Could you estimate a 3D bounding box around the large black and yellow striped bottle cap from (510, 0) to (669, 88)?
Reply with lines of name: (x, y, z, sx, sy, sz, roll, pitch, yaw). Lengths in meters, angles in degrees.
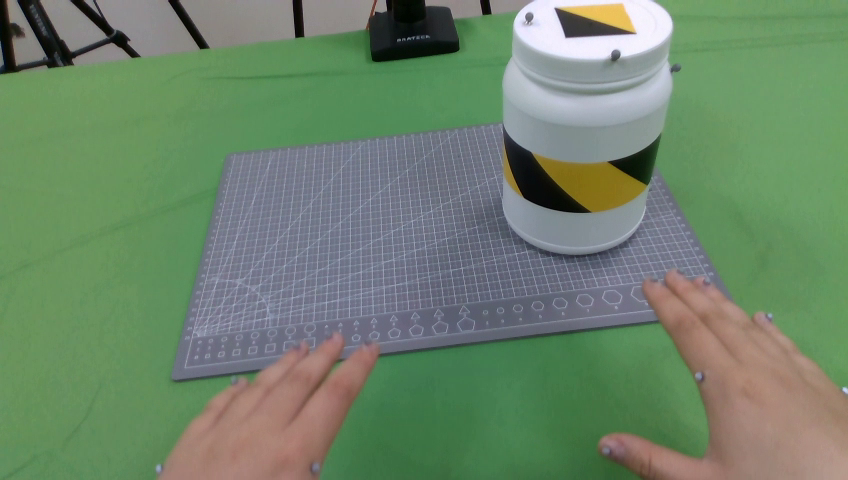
large black and yellow striped bottle cap: (0.122, -0.150, 0.452, 0.115, 0.019, 0.114, -2, 44, 3)

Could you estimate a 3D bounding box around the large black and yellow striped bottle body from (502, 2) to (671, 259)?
large black and yellow striped bottle body: (0.131, -0.089, 0.511, 0.131, 0.186, 0.129, -4, 44, 4)
